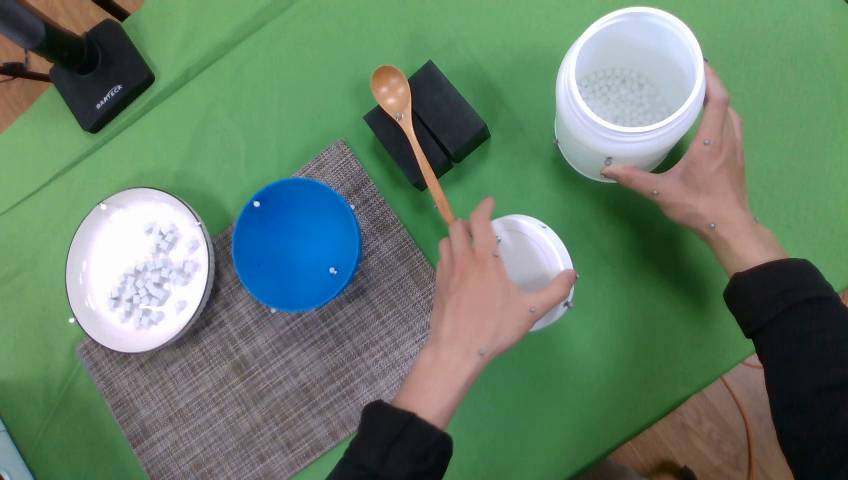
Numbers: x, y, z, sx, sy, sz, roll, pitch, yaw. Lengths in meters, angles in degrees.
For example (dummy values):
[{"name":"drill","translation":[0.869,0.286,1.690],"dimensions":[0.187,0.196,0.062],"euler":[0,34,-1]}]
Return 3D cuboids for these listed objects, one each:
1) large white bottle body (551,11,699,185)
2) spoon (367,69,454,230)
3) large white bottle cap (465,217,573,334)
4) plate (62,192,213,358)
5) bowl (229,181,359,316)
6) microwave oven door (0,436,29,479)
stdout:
[{"name":"large white bottle body","translation":[0.191,-0.133,0.596],"dimensions":[0.130,0.185,0.130],"euler":[-1,85,12]},{"name":"spoon","translation":[-0.013,-0.099,0.672],"dimensions":[0.041,0.021,0.193],"euler":[-24,87,4]},{"name":"large white bottle cap","translation":[0.089,0.035,0.587],"dimensions":[0.114,0.018,0.115],"euler":[13,111,39]},{"name":"plate","translation":[-0.356,0.044,0.766],"dimensions":[0.208,0.038,0.208],"euler":[-2,83,13]},{"name":"bowl","translation":[-0.139,0.012,0.703],"dimensions":[0.151,0.077,0.151],"euler":[-1,86,12]},{"name":"microwave oven door","translation":[-0.479,0.391,0.647],"dimensions":[0.039,0.245,0.354],"euler":[-39,79,6]}]
